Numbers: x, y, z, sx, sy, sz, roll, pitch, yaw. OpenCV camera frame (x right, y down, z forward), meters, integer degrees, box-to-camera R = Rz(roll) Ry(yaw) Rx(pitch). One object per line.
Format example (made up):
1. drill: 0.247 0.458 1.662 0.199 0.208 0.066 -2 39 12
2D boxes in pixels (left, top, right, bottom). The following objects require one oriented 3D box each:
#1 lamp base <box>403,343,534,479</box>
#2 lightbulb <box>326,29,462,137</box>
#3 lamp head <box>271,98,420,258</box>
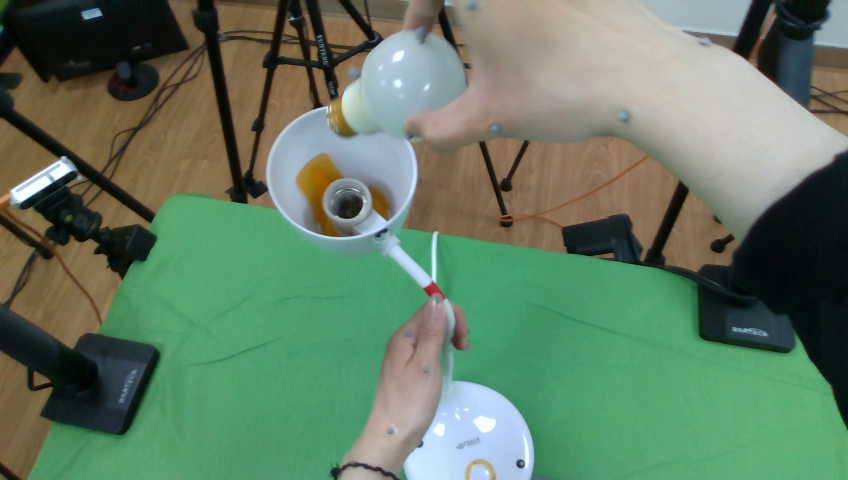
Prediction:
1. lamp base: 0.045 0.199 0.680 0.161 0.182 0.177 -27 60 -13
2. lightbulb: -0.024 -0.086 0.364 0.107 0.060 0.059 -11 48 47
3. lamp head: -0.056 -0.036 0.500 0.112 0.124 0.111 -1 68 2
